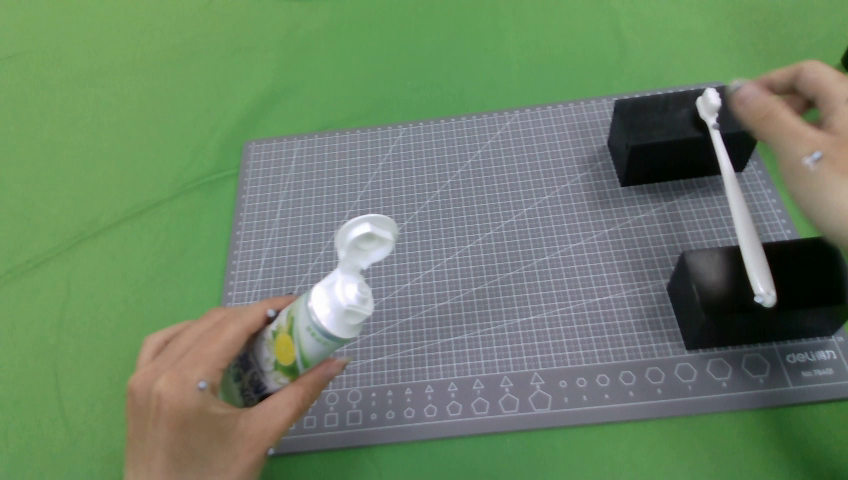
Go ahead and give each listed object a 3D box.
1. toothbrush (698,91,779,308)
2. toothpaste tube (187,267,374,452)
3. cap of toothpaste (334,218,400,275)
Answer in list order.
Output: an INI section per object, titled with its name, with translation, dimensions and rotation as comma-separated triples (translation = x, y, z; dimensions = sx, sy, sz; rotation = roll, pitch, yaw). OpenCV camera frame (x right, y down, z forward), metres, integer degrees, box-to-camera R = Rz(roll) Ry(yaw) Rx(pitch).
[toothbrush]
translation = 0.217, -0.036, 0.420
dimensions = 0.014, 0.017, 0.180
rotation = 5, 58, -5
[toothpaste tube]
translation = -0.087, 0.067, 0.352
dimensions = 0.165, 0.035, 0.054
rotation = -39, 70, 28
[cap of toothpaste]
translation = -0.030, 0.004, 0.320
dimensions = 0.037, 0.038, 0.011
rotation = -18, 49, -4
